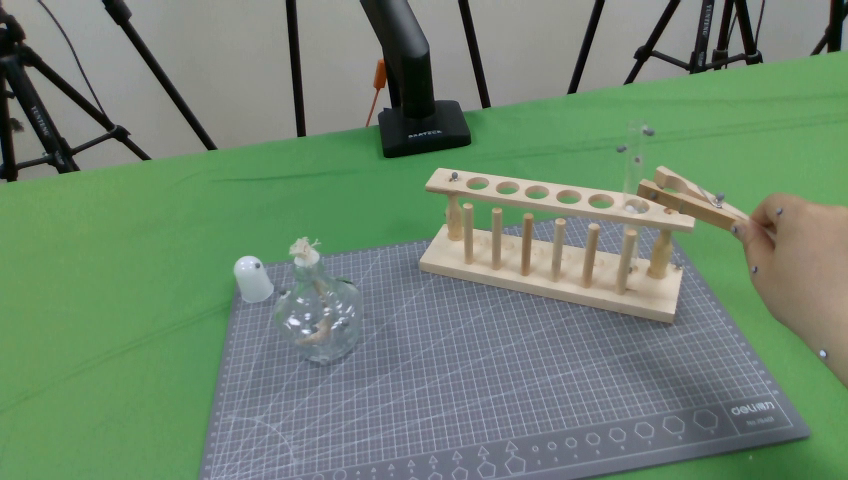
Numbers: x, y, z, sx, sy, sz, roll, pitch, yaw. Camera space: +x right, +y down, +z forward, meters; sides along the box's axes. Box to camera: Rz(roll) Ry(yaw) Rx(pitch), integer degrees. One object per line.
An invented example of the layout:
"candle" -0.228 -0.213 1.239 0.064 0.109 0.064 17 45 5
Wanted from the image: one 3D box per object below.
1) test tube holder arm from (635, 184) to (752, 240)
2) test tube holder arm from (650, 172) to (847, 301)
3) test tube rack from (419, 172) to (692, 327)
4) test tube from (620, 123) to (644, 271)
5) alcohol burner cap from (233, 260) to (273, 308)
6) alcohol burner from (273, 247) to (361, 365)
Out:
"test tube holder arm" 0.207 -0.022 0.467 0.087 0.015 0.010 25 53 30
"test tube holder arm" 0.240 -0.004 0.444 0.013 0.015 0.176 -32 49 -20
"test tube rack" 0.114 0.004 0.568 0.241 0.086 0.066 11 42 22
"test tube" 0.178 -0.031 0.521 0.017 0.152 0.017 -8 38 7
"alcohol burner cap" -0.172 0.040 0.604 0.034 0.048 0.033 -3 39 3
"alcohol burner" -0.094 0.051 0.520 0.078 0.120 0.077 -3 40 3
